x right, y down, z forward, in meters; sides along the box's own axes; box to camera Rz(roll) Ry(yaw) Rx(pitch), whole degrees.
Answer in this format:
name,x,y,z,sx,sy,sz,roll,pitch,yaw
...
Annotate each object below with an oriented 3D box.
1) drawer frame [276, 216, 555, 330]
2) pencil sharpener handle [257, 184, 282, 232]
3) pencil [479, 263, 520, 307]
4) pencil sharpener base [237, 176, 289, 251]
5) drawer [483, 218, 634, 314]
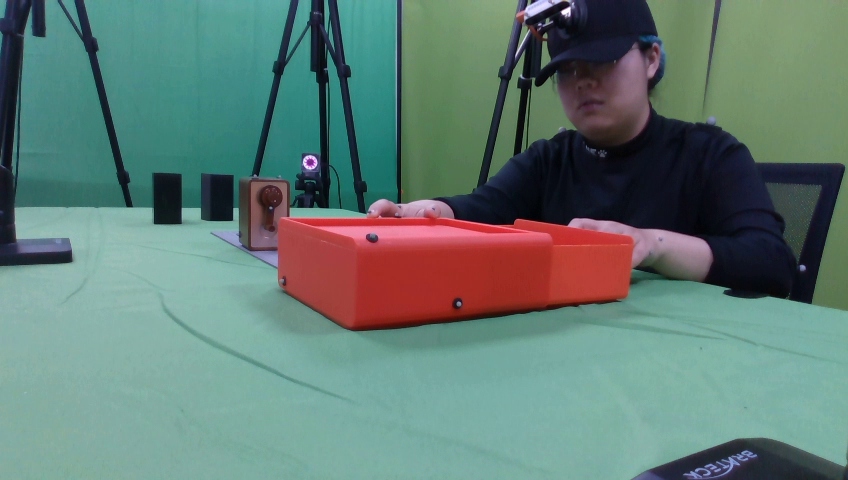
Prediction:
name,x,y,z,sx,sy,sz,roll,pitch,yaw
drawer frame,-0.015,0.022,0.610,0.215,0.082,0.200,-2,9,-32
pencil sharpener handle,-0.220,-0.046,0.865,0.036,0.067,0.030,7,5,-29
pencil,0.083,0.049,0.676,0.012,0.012,0.193,2,9,-5
pencil sharpener base,-0.243,-0.040,0.911,0.061,0.107,0.076,-1,8,-28
drawer,0.086,0.021,0.674,0.213,0.073,0.193,-3,10,-33
